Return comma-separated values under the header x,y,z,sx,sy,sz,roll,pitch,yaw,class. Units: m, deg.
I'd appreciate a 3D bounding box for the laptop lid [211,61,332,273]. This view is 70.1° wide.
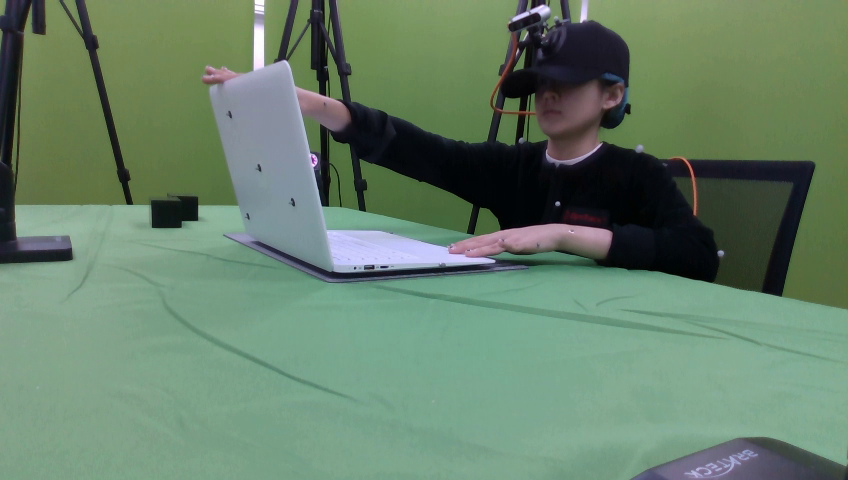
x,y,z,sx,sy,sz,roll,pitch,yaw,class
-0.212,-0.095,0.791,0.013,0.241,0.355,-17,18,-29,laptop lid

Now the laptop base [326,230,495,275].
x,y,z,sx,sy,sz,roll,pitch,yaw,class
-0.093,0.016,0.883,0.237,0.023,0.352,3,6,-33,laptop base
